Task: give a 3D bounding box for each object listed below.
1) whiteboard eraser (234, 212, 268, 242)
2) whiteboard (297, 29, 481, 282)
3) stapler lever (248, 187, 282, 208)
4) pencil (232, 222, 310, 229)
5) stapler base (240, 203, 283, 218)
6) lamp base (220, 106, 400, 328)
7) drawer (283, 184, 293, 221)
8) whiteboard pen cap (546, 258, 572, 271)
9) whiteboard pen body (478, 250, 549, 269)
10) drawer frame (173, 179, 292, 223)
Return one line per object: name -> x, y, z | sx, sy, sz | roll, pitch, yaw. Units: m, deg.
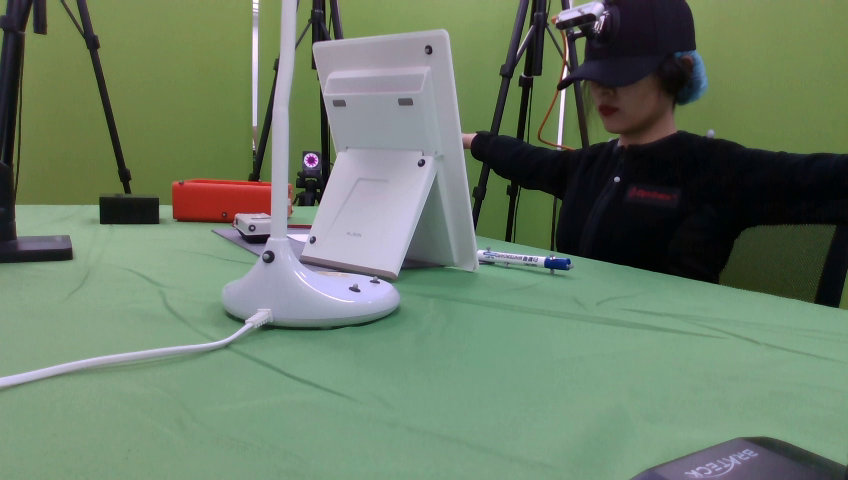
whiteboard eraser -> -0.270, -0.021, 0.975 | 0.056, 0.042, 0.112 | 0, 8, -27
whiteboard -> -0.076, -0.082, 0.741 | 0.216, 0.305, 0.144 | 9, 29, 37
stapler lever -> -0.341, -0.092, 1.307 | 0.027, 0.040, 0.118 | 19, 6, 12
pencil -> -0.261, -0.025, 1.141 | 0.195, 0.012, 0.012 | 2, 7, -26
stapler base -> -0.349, -0.065, 1.309 | 0.041, 0.024, 0.131 | 19, 8, 12
lamp base -> -0.101, -0.023, 0.531 | 0.160, 0.180, 0.179 | 4, 10, 10
drawer -> -0.396, -0.084, 1.301 | 0.212, 0.073, 0.194 | 1, 8, -7
whiteboard pen cap -> 0.176, 0.032, 0.790 | 0.033, 0.018, 0.018 | 3, 7, 37
whiteboard pen body -> 0.130, 0.027, 0.827 | 0.140, 0.017, 0.017 | 6, 8, 38
drawer frame -> -0.400, -0.086, 1.300 | 0.214, 0.082, 0.201 | 1, 8, -8
